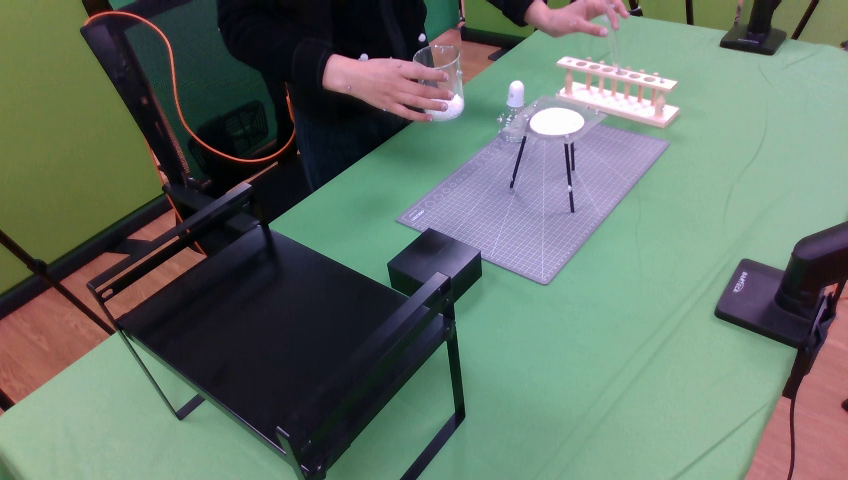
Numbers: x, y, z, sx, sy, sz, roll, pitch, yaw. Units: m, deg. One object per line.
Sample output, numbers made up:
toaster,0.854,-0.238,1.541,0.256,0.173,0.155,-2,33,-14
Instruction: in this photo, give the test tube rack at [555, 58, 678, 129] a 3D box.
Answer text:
test tube rack,0.389,-0.307,1.229,0.240,0.085,0.067,25,50,33

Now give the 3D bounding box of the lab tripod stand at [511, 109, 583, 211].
lab tripod stand,0.220,-0.138,1.014,0.148,0.132,0.147,-3,41,3

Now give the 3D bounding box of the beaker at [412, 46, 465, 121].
beaker,0.026,-0.250,0.970,0.074,0.101,0.084,3,46,14

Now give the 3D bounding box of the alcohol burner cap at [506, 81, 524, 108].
alcohol burner cap,0.174,-0.277,1.144,0.034,0.048,0.033,0,39,1

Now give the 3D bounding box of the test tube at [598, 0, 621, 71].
test tube,0.345,-0.380,1.122,0.017,0.151,0.017,-17,39,15

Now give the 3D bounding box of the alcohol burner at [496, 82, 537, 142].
alcohol burner,0.178,-0.250,1.167,0.078,0.119,0.077,-5,41,5

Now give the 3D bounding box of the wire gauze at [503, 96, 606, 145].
wire gauze,0.211,-0.192,0.975,0.120,0.011,0.125,24,49,32
